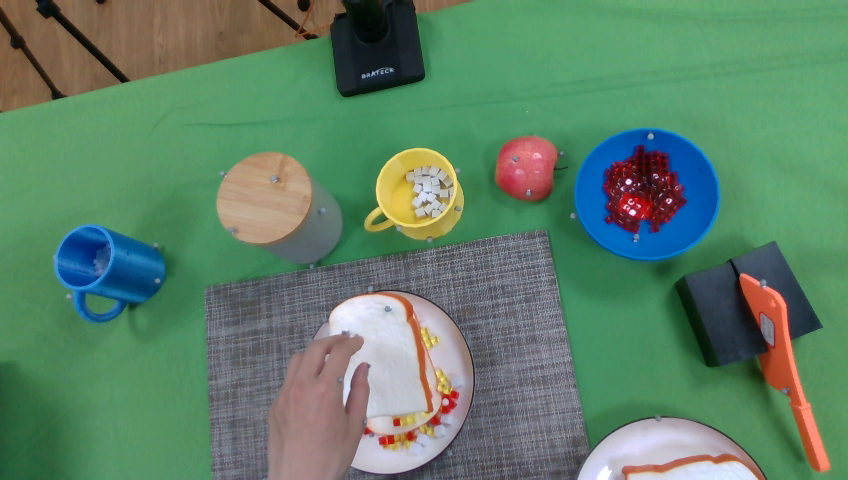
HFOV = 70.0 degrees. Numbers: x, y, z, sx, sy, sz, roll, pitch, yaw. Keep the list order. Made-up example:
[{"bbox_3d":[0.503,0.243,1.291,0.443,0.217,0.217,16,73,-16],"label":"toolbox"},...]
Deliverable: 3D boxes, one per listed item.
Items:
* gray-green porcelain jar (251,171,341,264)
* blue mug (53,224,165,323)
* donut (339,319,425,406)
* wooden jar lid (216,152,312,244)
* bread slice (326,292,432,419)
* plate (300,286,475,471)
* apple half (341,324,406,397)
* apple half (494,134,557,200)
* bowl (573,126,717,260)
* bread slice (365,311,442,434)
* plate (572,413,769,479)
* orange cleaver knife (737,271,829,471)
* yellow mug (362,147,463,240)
[{"bbox_3d":[-0.163,-0.030,0.735,0.105,0.127,0.105,-2,76,10],"label":"gray-green porcelain jar"},{"bbox_3d":[-0.401,0.048,0.769,0.082,0.106,0.116,11,79,13],"label":"blue mug"},{"bbox_3d":[-0.048,0.138,0.688,0.099,0.048,0.098,-2,77,10],"label":"donut"},{"bbox_3d":[-0.176,-0.045,0.674,0.108,0.021,0.108,-2,74,8],"label":"wooden jar lid"},{"bbox_3d":[-0.054,0.120,0.629,0.104,0.019,0.131,-10,88,14],"label":"bread slice"},{"bbox_3d":[-0.042,0.160,0.711,0.207,0.039,0.206,-2,77,10],"label":"plate"},{"bbox_3d":[-0.057,0.129,0.654,0.081,0.033,0.081,-4,74,15],"label":"apple half"},{"bbox_3d":[0.123,-0.094,0.737,0.074,0.054,0.080,12,80,15],"label":"apple half"},{"bbox_3d":[0.244,-0.044,0.690,0.151,0.077,0.150,-2,77,10],"label":"bowl"},{"bbox_3d":[-0.037,0.157,0.711,0.107,0.018,0.133,-27,76,4],"label":"bread slice"},{"bbox_3d":[0.256,0.287,0.632,0.209,0.038,0.208,-2,77,11],"label":"plate"},{"bbox_3d":[0.367,0.133,0.625,0.012,0.077,0.211,-20,96,-2],"label":"orange cleaver knife"},{"bbox_3d":[-0.019,-0.048,0.744,0.131,0.064,0.099,-32,73,3],"label":"yellow mug"}]
